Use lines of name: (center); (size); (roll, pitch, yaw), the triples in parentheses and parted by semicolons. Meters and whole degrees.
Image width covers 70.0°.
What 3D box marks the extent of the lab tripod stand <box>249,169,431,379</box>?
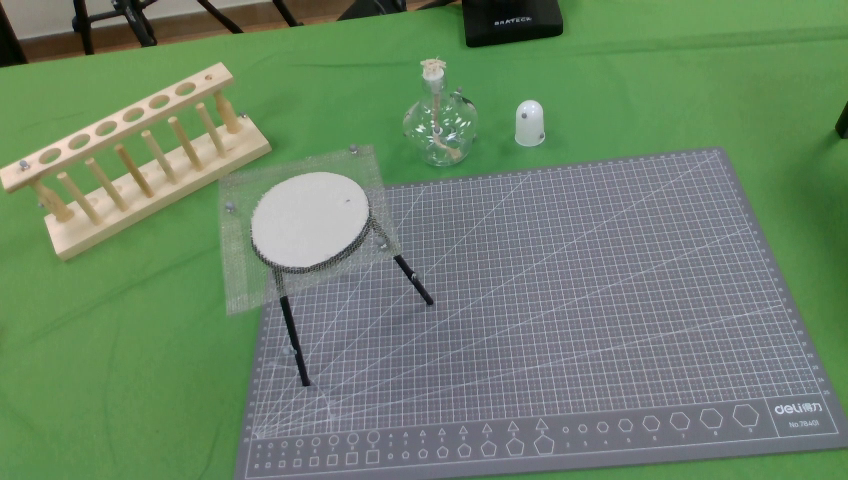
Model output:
lab tripod stand: (-0.074, 0.023, 0.483); (0.148, 0.133, 0.147); (-4, 54, 6)

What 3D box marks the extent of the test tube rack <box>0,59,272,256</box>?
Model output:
test tube rack: (-0.295, -0.090, 0.639); (0.242, 0.086, 0.066); (-32, 55, -14)

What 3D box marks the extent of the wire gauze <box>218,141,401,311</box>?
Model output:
wire gauze: (-0.085, -0.018, 0.431); (0.121, 0.011, 0.123); (-15, 54, -2)

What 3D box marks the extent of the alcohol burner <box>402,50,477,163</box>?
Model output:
alcohol burner: (0.014, -0.136, 0.606); (0.078, 0.120, 0.077); (-5, 51, 6)

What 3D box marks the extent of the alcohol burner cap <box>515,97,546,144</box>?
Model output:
alcohol burner cap: (0.110, -0.127, 0.629); (0.034, 0.048, 0.033); (-5, 53, 8)
